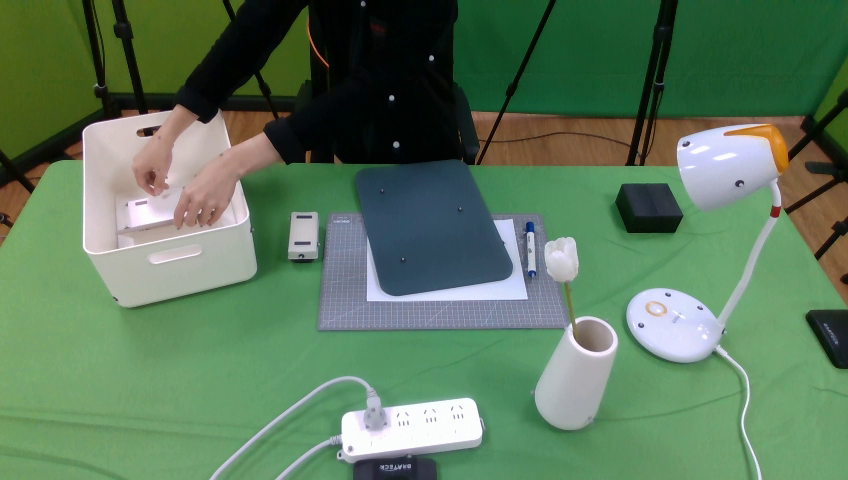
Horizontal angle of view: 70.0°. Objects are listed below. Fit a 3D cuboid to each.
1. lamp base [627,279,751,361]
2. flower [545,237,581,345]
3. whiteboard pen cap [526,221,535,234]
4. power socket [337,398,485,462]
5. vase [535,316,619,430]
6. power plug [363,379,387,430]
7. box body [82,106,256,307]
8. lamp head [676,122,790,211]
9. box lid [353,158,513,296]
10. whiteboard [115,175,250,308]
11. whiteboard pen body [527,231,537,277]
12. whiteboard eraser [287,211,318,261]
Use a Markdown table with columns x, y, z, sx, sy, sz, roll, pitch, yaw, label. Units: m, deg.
| x | y | z | sx | sy | sz | roll | pitch | yaw | label |
| --- | --- | --- | --- | --- | --- | --- | --- | --- | --- |
| 0.460 | 0.100 | 1.027 | 0.178 | 0.181 | 0.160 | 27 | 51 | 17 | lamp base |
| 0.213 | 0.137 | 0.846 | 0.038 | 0.364 | 0.044 | 22 | 55 | 40 | flower |
| 0.216 | -0.022 | 1.234 | 0.018 | 0.018 | 0.033 | 6 | 44 | 1 | whiteboard pen cap |
| -0.018 | 0.285 | 0.914 | 0.227 | 0.033 | 0.071 | -4 | 46 | -8 | power socket |
| 0.229 | 0.200 | 0.900 | 0.098 | 0.201 | 0.097 | 3 | 46 | -3 | vase |
| -0.072 | 0.252 | 0.911 | 0.035 | 0.053 | 0.072 | 3 | 40 | 0 | power plug |
| -0.471 | -0.070 | 1.131 | 0.254 | 0.161 | 0.361 | -14 | 49 | -17 | box body |
| 0.423 | -0.104 | 0.819 | 0.122 | 0.113 | 0.112 | -13 | 33 | 40 | lamp head |
| 0.008 | -0.039 | 1.242 | 0.264 | 0.015 | 0.369 | -8 | 47 | -12 | box lid |
| -0.473 | -0.056 | 1.129 | 0.217 | 0.144 | 0.303 | -14 | 50 | -16 | whiteboard |
| 0.211 | 0.018 | 1.191 | 0.017 | 0.017 | 0.140 | 6 | 44 | 2 | whiteboard pen body |
| -0.234 | -0.007 | 1.173 | 0.055 | 0.042 | 0.112 | -3 | 47 | -5 | whiteboard eraser |
